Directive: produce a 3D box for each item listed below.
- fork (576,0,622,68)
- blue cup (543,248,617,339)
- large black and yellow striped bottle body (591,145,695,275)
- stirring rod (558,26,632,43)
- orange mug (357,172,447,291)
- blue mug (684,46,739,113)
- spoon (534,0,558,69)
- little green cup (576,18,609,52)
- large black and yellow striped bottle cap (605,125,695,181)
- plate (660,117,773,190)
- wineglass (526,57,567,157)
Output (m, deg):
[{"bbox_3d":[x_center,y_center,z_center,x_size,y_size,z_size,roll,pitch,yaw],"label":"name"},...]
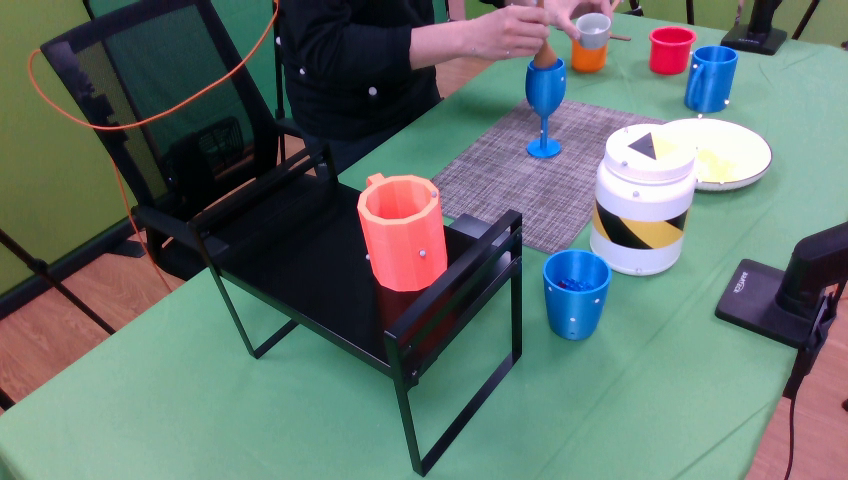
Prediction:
[{"bbox_3d":[0.409,-0.484,1.381,0.028,0.019,0.207,37,101,46],"label":"fork"},{"bbox_3d":[0.199,0.076,0.797,0.092,0.100,0.092,-4,39,4],"label":"blue cup"},{"bbox_3d":[0.313,-0.056,0.870,0.131,0.185,0.130,-4,40,4],"label":"large black and yellow striped bottle body"},{"bbox_3d":[0.381,-0.462,1.356,0.175,0.006,0.014,23,48,29],"label":"stirring rod"},{"bbox_3d":[-0.030,-0.018,0.669,0.084,0.101,0.125,-23,47,-16],"label":"orange mug"},{"bbox_3d":[0.556,-0.310,1.190,0.117,0.106,0.081,-32,46,-25],"label":"blue mug"},{"bbox_3d":[0.188,-0.333,0.961,0.041,0.195,0.021,-8,63,13],"label":"spoon"},{"bbox_3d":[0.314,-0.379,1.122,0.061,0.039,0.061,-11,44,11],"label":"little green cup"},{"bbox_3d":[0.304,-0.120,0.817,0.115,0.019,0.114,-3,41,3],"label":"large black and yellow striped bottle cap"},{"bbox_3d":[0.495,-0.148,1.063,0.209,0.038,0.208,-5,40,4],"label":"plate"},{"bbox_3d":[0.222,-0.241,1.102,0.074,0.173,0.073,-5,41,4],"label":"wineglass"}]
